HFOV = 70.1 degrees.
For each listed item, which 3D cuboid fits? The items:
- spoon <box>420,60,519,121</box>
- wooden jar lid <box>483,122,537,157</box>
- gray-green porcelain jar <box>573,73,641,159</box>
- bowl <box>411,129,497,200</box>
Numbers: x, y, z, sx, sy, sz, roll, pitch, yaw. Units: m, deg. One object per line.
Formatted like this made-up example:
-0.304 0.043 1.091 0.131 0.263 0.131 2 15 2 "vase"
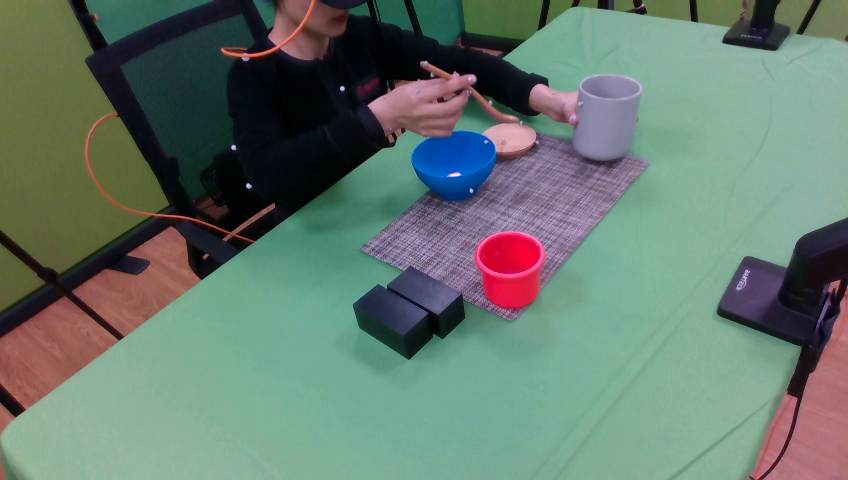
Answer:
0.070 -0.222 0.902 0.021 0.195 0.041 -58 35 8 "spoon"
0.166 -0.195 1.177 0.108 0.021 0.108 -4 40 4 "wooden jar lid"
0.321 -0.215 1.071 0.106 0.127 0.105 -2 38 2 "gray-green porcelain jar"
0.056 -0.124 1.069 0.151 0.077 0.150 -6 40 5 "bowl"
